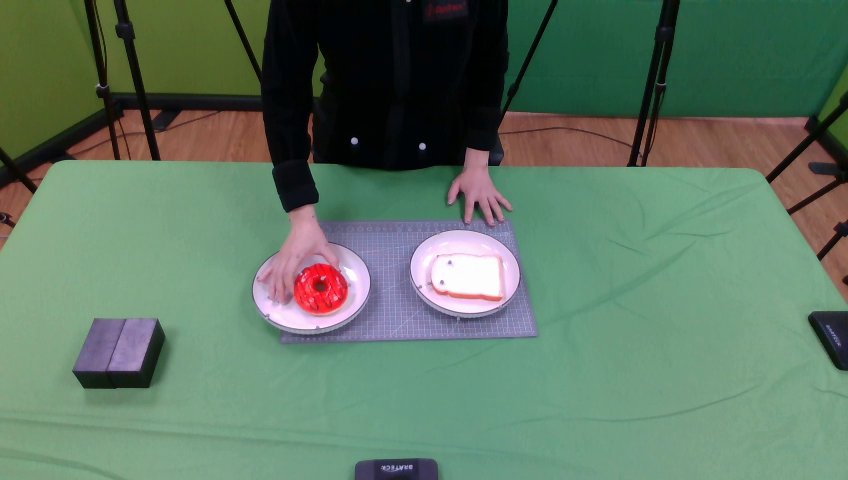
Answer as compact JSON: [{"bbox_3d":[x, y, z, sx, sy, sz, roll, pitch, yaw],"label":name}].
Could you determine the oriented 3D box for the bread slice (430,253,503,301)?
[{"bbox_3d":[0.078,0.067,1.125,0.134,0.018,0.106,1,45,-3],"label":"bread slice"}]

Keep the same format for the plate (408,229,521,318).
[{"bbox_3d":[0.074,0.064,1.127,0.209,0.038,0.208,2,46,-2],"label":"plate"}]

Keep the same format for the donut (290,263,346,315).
[{"bbox_3d":[-0.186,0.087,1.063,0.099,0.048,0.098,6,56,-9],"label":"donut"}]

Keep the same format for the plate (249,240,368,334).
[{"bbox_3d":[-0.204,0.087,1.084,0.208,0.039,0.206,2,46,-2],"label":"plate"}]
